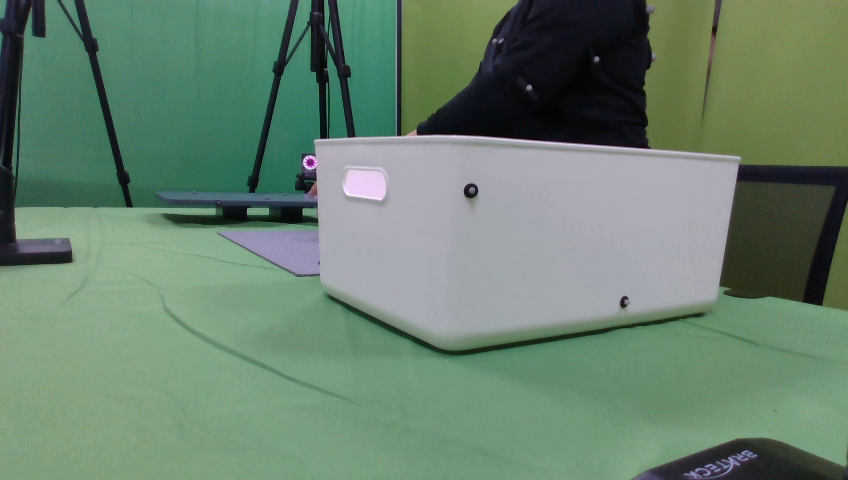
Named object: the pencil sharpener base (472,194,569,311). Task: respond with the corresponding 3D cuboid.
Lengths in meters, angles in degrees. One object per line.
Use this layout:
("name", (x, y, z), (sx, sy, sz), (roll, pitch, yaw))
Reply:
("pencil sharpener base", (0.095, 0.010, 0.592), (0.077, 0.107, 0.061), (-1, 7, -33))

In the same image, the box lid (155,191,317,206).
("box lid", (-0.387, -0.091, 1.340), (0.373, 0.015, 0.262), (-1, 8, -30))

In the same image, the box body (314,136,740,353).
("box body", (0.098, -0.012, 0.605), (0.366, 0.160, 0.253), (-2, 8, -33))

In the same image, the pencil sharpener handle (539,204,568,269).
("pencil sharpener handle", (0.138, -0.003, 0.621), (0.031, 0.067, 0.036), (-1, 15, -33))
